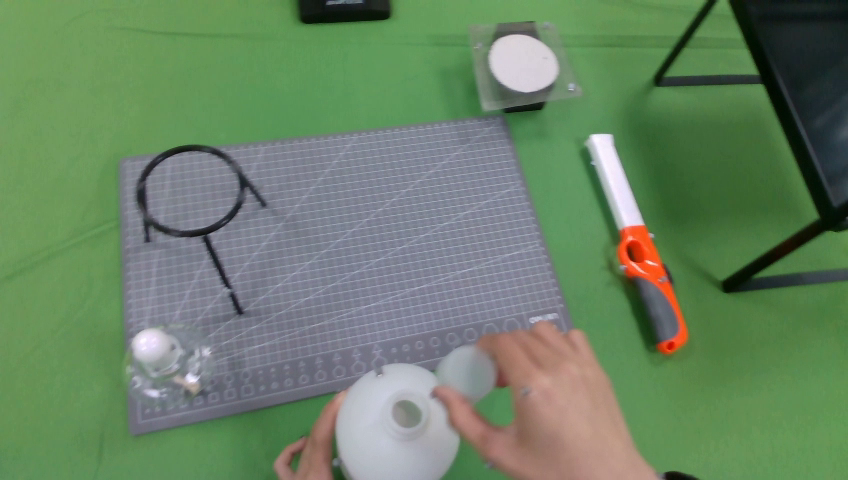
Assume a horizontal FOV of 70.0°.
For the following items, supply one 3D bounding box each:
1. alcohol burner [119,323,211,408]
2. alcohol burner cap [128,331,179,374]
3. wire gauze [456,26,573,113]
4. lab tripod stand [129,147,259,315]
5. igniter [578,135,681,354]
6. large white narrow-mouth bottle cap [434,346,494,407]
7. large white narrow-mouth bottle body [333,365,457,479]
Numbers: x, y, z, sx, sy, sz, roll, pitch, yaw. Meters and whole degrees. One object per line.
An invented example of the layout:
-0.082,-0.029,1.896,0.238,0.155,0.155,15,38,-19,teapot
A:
-0.230,0.105,0.532,0.078,0.120,0.077,4,63,-8,alcohol burner
-0.225,0.091,0.499,0.034,0.048,0.033,3,71,-8,alcohol burner cap
0.108,-0.212,0.736,0.122,0.011,0.124,-8,68,-12,wire gauze
-0.211,-0.012,0.577,0.149,0.132,0.147,4,65,-9,lab tripod stand
0.236,-0.003,0.703,0.057,0.025,0.274,-4,66,-22,igniter
0.026,0.089,0.393,0.038,0.024,0.037,3,65,-6,large white narrow-mouth bottle cap
-0.024,0.158,0.498,0.102,0.196,0.101,3,65,-6,large white narrow-mouth bottle body
